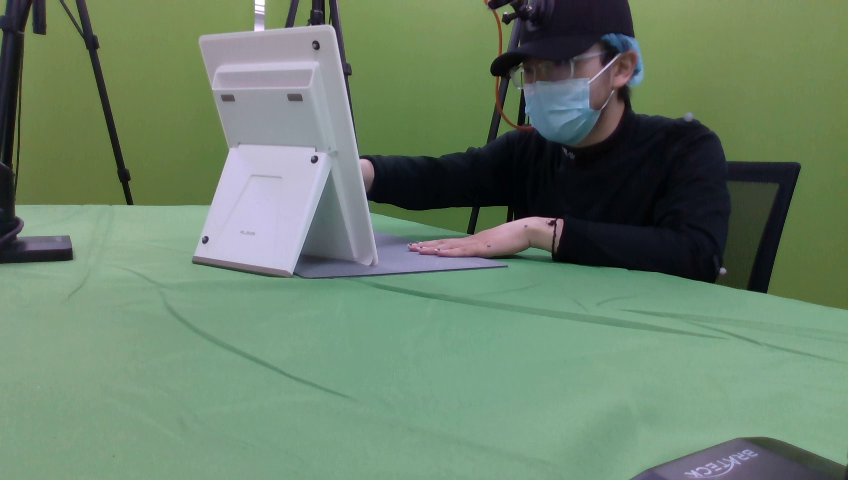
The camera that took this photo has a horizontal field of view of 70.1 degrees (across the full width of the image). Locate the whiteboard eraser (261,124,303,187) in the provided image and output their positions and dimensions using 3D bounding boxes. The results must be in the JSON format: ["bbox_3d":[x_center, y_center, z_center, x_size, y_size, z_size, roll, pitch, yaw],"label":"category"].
[{"bbox_3d":[-0.199,-0.114,0.846,0.042,0.055,0.112,-38,-6,-17],"label":"whiteboard eraser"}]

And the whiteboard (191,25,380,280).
[{"bbox_3d":[-0.206,-0.085,0.733,0.216,0.305,0.144,7,30,30],"label":"whiteboard"}]
